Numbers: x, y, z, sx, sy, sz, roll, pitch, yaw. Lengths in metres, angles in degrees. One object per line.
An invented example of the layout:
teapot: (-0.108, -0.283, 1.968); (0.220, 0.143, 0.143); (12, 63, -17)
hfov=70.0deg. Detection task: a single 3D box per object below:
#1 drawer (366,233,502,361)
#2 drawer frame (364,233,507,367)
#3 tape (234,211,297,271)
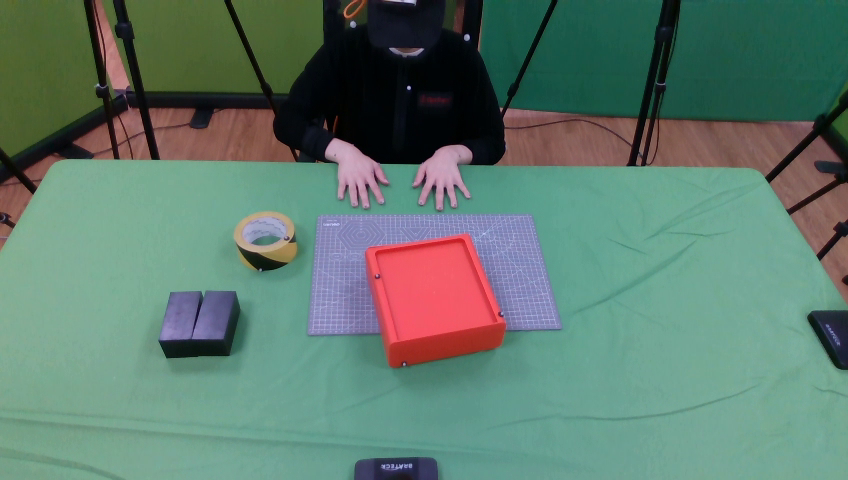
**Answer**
drawer: (0.012, 0.095, 1.063); (0.195, 0.073, 0.210); (-7, 48, -12)
drawer frame: (0.013, 0.098, 1.058); (0.202, 0.083, 0.212); (-9, 48, -12)
tape: (-0.301, 0.002, 1.154); (0.117, 0.053, 0.116); (2, 46, -1)
